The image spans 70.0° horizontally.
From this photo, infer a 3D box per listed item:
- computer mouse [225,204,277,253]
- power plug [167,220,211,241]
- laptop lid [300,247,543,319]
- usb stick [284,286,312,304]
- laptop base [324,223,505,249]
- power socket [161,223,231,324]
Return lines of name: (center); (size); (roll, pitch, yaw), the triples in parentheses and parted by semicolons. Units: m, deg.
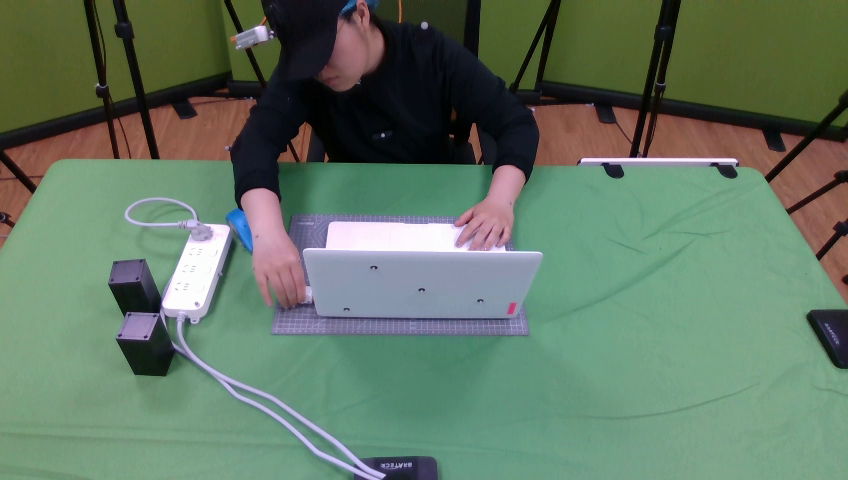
computer mouse: (-0.339, -0.026, 1.186); (0.063, 0.041, 0.116); (-25, 58, -29)
power plug: (-0.438, -0.017, 1.143); (0.072, 0.053, 0.035); (10, 43, 6)
laptop lid: (-0.006, 0.075, 0.963); (0.357, 0.242, 0.013); (2, 58, -4)
usb stick: (-0.215, 0.097, 1.069); (0.059, 0.027, 0.021); (7, 42, -2)
laptop base: (-0.016, 0.054, 1.146); (0.354, 0.023, 0.234); (1, 43, -3)
power socket: (-0.412, 0.051, 1.106); (0.072, 0.033, 0.225); (4, 46, -2)
